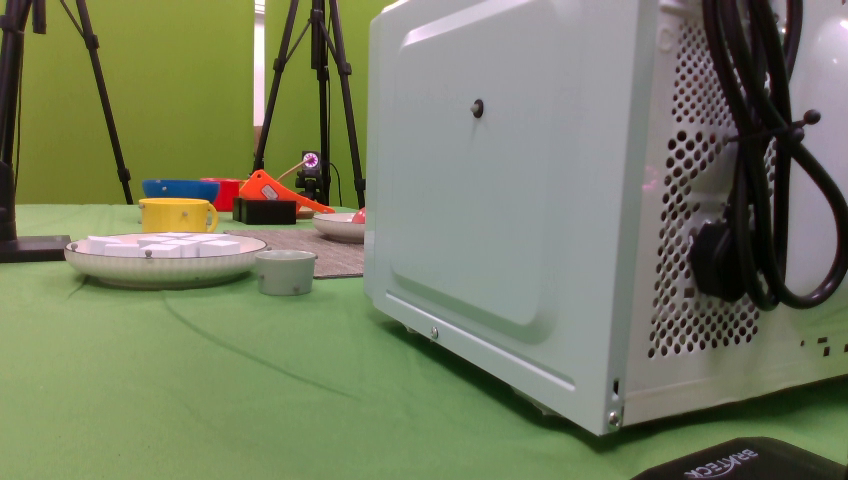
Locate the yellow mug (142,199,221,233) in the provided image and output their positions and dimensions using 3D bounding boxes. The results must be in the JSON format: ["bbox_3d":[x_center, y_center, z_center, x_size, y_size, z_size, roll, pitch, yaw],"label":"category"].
[{"bbox_3d":[-0.372,-0.030,0.948,0.099,0.064,0.131,6,7,30],"label":"yellow mug"}]

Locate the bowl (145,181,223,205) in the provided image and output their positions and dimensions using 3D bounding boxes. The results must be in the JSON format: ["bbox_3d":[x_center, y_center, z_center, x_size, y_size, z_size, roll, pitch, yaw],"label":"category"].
[{"bbox_3d":[-0.499,-0.081,1.261,0.151,0.077,0.151,2,8,0],"label":"bowl"}]

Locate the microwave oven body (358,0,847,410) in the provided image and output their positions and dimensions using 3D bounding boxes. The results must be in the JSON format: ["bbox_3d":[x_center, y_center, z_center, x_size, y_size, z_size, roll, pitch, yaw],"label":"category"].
[{"bbox_3d":[0.210,-0.051,0.471,0.444,0.260,0.324,-1,7,-28],"label":"microwave oven body"}]

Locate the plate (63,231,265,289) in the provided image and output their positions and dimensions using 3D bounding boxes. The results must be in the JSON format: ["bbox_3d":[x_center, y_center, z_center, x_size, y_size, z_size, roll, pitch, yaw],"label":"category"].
[{"bbox_3d":[-0.288,0.021,0.687,0.208,0.039,0.207,2,8,0],"label":"plate"}]

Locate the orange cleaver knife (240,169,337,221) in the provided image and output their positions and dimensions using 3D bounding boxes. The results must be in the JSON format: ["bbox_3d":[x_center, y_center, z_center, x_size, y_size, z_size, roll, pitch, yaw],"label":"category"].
[{"bbox_3d":[-0.287,-0.081,1.298,0.212,0.077,0.012,25,-3,-31],"label":"orange cleaver knife"}]

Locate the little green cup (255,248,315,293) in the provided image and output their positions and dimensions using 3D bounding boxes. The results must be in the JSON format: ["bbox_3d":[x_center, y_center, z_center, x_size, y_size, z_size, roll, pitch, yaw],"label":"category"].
[{"bbox_3d":[-0.144,0.031,0.627,0.061,0.038,0.061,2,6,0],"label":"little green cup"}]

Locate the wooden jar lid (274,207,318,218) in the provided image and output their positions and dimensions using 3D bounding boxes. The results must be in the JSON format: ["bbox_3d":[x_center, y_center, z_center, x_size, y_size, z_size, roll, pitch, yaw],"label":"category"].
[{"bbox_3d":[-0.303,-0.065,1.409,0.108,0.020,0.108,3,9,0],"label":"wooden jar lid"}]

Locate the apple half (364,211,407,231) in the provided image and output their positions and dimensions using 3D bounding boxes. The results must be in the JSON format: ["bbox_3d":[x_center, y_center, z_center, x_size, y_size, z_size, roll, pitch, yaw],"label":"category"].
[{"bbox_3d":[-0.068,-0.037,1.104,0.081,0.033,0.081,-1,9,0],"label":"apple half"}]

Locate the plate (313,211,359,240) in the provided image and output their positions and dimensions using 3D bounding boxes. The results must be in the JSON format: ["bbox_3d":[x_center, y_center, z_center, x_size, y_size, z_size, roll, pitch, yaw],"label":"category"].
[{"bbox_3d":[-0.090,-0.026,1.063,0.209,0.038,0.209,2,7,0],"label":"plate"}]

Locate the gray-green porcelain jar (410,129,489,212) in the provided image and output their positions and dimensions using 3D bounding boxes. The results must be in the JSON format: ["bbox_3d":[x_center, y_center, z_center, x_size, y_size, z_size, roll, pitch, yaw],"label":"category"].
[{"bbox_3d":[0.052,-0.125,1.121,0.106,0.127,0.105,-30,18,11],"label":"gray-green porcelain jar"}]

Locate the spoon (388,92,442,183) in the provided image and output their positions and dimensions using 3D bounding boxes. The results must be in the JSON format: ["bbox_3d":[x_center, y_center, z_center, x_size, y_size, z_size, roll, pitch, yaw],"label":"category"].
[{"bbox_3d":[-0.017,-0.188,1.108,0.021,0.193,0.042,-26,-3,12],"label":"spoon"}]

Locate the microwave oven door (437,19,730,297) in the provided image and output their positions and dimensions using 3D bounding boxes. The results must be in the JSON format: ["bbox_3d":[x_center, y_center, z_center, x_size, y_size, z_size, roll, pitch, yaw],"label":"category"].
[{"bbox_3d":[0.181,-0.076,0.618,0.358,0.243,0.039,-2,9,-28],"label":"microwave oven door"}]

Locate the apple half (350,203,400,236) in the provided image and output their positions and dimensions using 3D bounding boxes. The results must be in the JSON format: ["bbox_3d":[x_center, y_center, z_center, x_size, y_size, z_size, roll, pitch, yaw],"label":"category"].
[{"bbox_3d":[-0.081,-0.036,1.024,0.081,0.053,0.074,-2,11,-34],"label":"apple half"}]

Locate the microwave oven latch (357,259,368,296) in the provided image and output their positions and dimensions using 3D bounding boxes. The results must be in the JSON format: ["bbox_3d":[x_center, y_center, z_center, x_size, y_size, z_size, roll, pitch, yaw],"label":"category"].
[{"bbox_3d":[-0.019,0.031,0.528,0.079,0.029,0.030,-1,7,-25],"label":"microwave oven latch"}]

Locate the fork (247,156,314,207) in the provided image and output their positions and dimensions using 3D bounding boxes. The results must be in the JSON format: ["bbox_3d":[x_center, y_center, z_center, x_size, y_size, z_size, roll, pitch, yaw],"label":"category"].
[{"bbox_3d":[-0.360,-0.147,1.523,0.207,0.019,0.028,-43,17,-6],"label":"fork"}]
